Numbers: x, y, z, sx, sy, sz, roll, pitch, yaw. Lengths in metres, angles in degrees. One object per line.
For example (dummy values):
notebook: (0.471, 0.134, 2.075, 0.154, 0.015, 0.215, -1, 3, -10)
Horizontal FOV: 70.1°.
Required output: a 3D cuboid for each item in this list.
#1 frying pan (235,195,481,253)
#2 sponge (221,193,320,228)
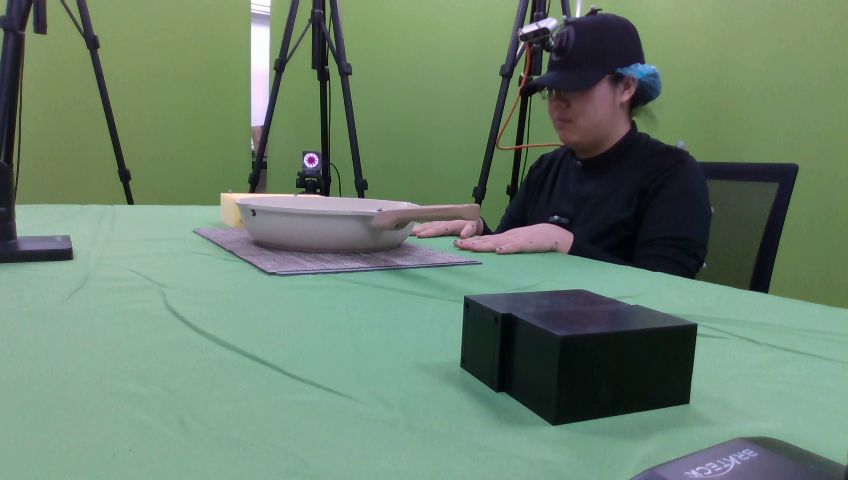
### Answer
frying pan: (-0.089, -0.033, 0.891, 0.308, 0.102, 0.485, -4, 2, -36)
sponge: (-0.297, -0.062, 1.235, 0.208, 0.061, 0.117, -2, 9, -31)
